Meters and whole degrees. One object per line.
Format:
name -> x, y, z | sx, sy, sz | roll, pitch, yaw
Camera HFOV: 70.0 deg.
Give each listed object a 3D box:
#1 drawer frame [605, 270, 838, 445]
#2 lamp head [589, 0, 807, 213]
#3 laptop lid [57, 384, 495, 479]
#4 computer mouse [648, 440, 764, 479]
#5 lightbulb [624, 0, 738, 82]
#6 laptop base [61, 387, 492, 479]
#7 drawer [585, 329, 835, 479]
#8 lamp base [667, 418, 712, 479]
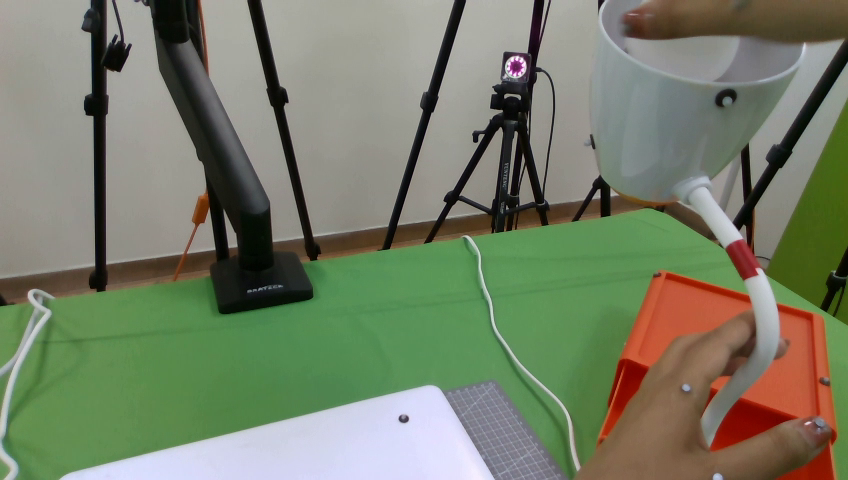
drawer frame -> 0.331, 0.136, 0.680 | 0.200, 0.083, 0.213 | 16, 30, 22
lamp head -> 0.154, -0.077, 0.374 | 0.112, 0.124, 0.111 | -1, 44, 1
laptop lid -> -0.104, 0.231, 0.485 | 0.358, 0.013, 0.239 | -8, 33, -21
computer mouse -> 0.258, 0.222, 0.547 | 0.117, 0.041, 0.062 | 16, 30, 14
lightbulb -> 0.147, -0.097, 0.356 | 0.059, 0.109, 0.059 | -6, 51, 8
laptop base -> -0.105, 0.240, 0.493 | 0.356, 0.023, 0.233 | -8, 34, -22
drawer -> 0.280, 0.183, 0.592 | 0.193, 0.074, 0.211 | 15, 30, 21
lamp base -> 0.172, 0.221, 0.394 | 0.161, 0.181, 0.177 | 1, 27, -8
